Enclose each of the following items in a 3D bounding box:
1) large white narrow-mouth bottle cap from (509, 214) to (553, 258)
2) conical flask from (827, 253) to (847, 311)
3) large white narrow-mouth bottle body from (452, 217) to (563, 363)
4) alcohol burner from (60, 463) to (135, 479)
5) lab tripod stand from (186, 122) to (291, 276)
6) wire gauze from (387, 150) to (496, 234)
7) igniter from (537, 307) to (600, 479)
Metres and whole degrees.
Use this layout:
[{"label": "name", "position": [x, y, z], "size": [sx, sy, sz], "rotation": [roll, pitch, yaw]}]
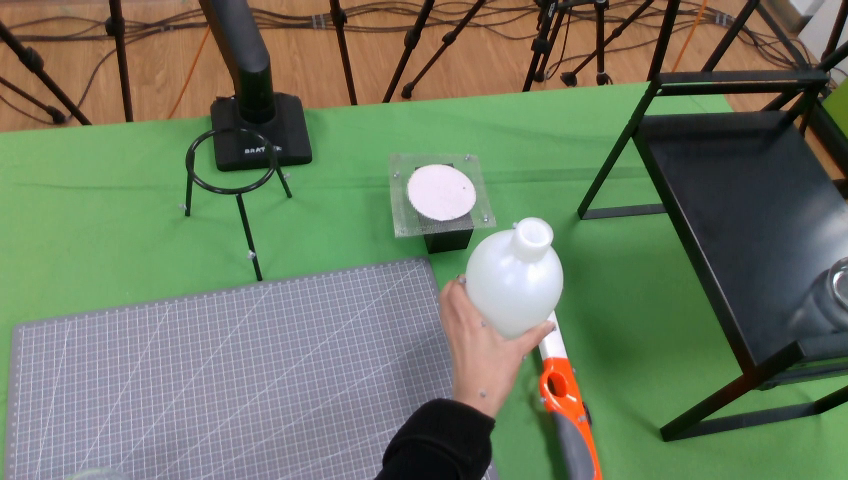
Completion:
[{"label": "large white narrow-mouth bottle cap", "position": [0.098, -0.004, 0.558], "size": [0.038, 0.024, 0.037], "rotation": [4, 55, -5]}, {"label": "conical flask", "position": [0.427, 0.018, 0.531], "size": [0.075, 0.123, 0.074], "rotation": [4, 57, -6]}, {"label": "large white narrow-mouth bottle body", "position": [0.089, 0.046, 0.627], "size": [0.102, 0.196, 0.101], "rotation": [4, 55, -5]}, {"label": "alcohol burner", "position": [-0.280, 0.220, 0.500], "size": [0.078, 0.120, 0.077], "rotation": [6, 55, -8]}, {"label": "lab tripod stand", "position": [-0.204, -0.051, 0.678], "size": [0.149, 0.132, 0.147], "rotation": [5, 57, -8]}, {"label": "wire gauze", "position": [0.018, -0.062, 0.738], "size": [0.122, 0.011, 0.124], "rotation": [-2, 58, -11]}, {"label": "igniter", "position": [0.147, 0.142, 0.677], "size": [0.057, 0.025, 0.273], "rotation": [11, 53, -27]}]
